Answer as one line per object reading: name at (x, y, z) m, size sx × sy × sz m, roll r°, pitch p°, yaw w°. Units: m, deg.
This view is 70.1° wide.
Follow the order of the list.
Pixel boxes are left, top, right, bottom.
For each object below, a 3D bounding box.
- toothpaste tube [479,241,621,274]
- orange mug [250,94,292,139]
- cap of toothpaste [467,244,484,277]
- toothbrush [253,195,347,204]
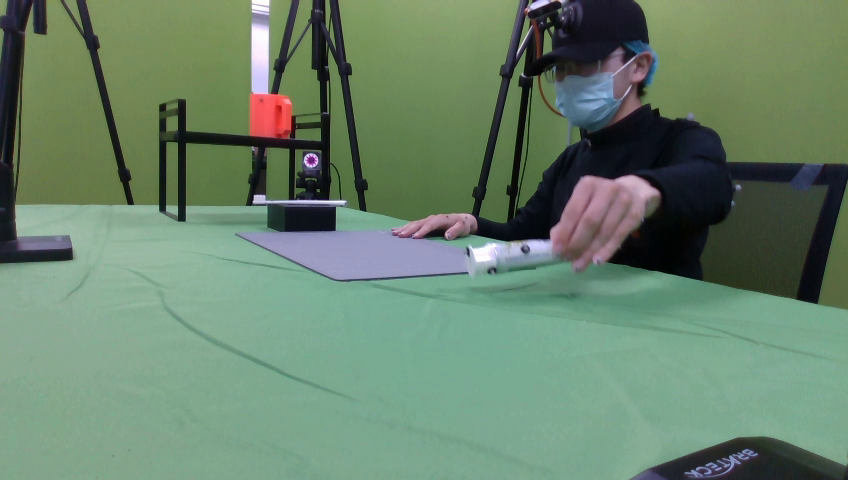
toothpaste tube at (0.132, 0.014, 0.666) m, size 0.165 × 0.034 × 0.055 m, roll -7°, pitch 9°, yaw -15°
orange mug at (-0.339, -0.279, 1.364) m, size 0.125 × 0.100 × 0.084 m, roll 4°, pitch 6°, yaw 45°
cap of toothpaste at (0.055, 0.022, 0.649) m, size 0.011 × 0.037 × 0.037 m, roll -7°, pitch 10°, yaw -14°
toothbrush at (-0.234, -0.076, 1.154) m, size 0.183 × 0.016 × 0.014 m, roll -1°, pitch 4°, yaw -27°
